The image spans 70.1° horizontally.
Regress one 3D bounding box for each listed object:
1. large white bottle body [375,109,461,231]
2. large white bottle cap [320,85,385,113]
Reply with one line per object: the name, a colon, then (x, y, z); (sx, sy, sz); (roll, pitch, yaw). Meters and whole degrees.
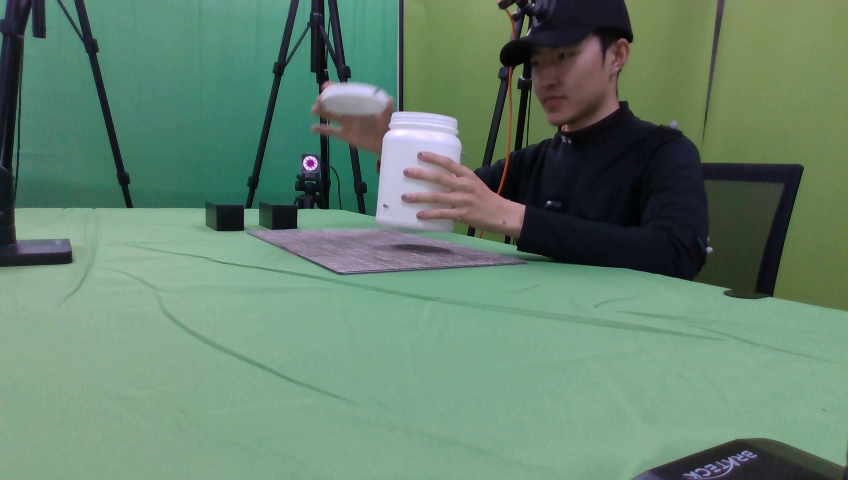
large white bottle body: (-0.008, -0.113, 0.986); (0.131, 0.184, 0.130); (5, 5, 0)
large white bottle cap: (-0.125, -0.247, 1.070); (0.115, 0.018, 0.115); (1, -5, 0)
